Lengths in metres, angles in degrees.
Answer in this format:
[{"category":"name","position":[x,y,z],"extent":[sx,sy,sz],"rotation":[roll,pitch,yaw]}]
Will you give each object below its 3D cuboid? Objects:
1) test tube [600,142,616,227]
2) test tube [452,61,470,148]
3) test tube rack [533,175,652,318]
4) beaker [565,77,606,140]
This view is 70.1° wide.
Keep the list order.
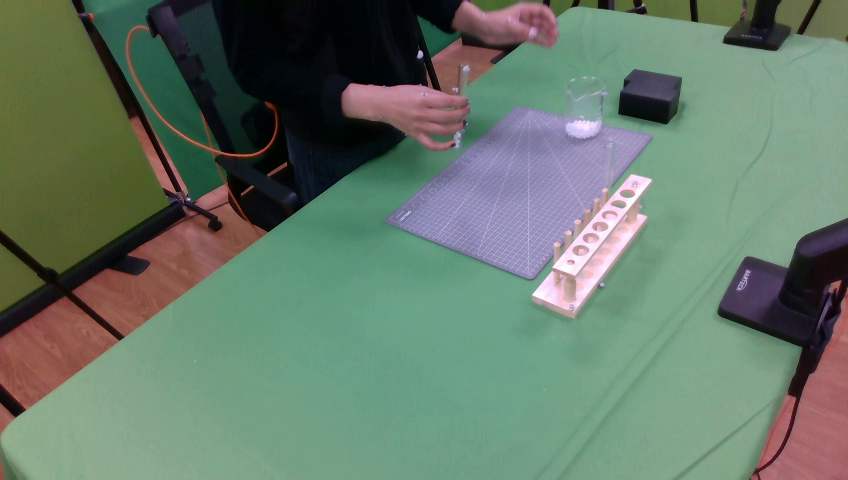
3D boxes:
[{"category":"test tube","position":[0.275,-0.081,0.909],"extent":[0.017,0.151,0.017],"rotation":[-5,40,5]},{"category":"test tube","position":[0.059,-0.215,0.978],"extent":[0.017,0.151,0.017],"rotation":[3,38,-2]},{"category":"test tube rack","position":[0.250,-0.001,0.889],"extent":[0.066,0.085,0.243],"rotation":[22,49,33]},{"category":"beaker","position":[0.304,-0.247,1.153],"extent":[0.073,0.101,0.084],"rotation":[15,47,27]}]
